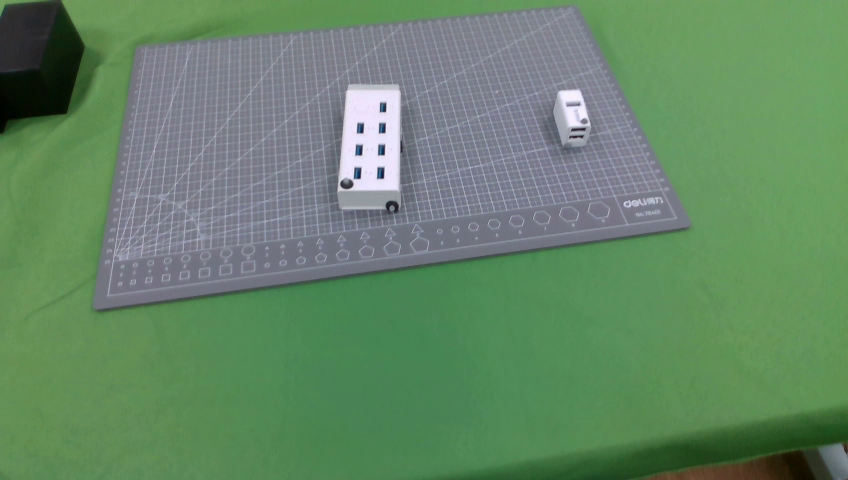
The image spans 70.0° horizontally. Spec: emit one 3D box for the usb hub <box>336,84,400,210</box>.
[{"bbox_3d":[-0.045,-0.081,0.507,0.049,0.025,0.124,0,54,-1],"label":"usb hub"}]

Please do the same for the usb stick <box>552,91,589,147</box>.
[{"bbox_3d":[0.126,-0.111,0.531,0.021,0.027,0.058,-4,52,-2],"label":"usb stick"}]
